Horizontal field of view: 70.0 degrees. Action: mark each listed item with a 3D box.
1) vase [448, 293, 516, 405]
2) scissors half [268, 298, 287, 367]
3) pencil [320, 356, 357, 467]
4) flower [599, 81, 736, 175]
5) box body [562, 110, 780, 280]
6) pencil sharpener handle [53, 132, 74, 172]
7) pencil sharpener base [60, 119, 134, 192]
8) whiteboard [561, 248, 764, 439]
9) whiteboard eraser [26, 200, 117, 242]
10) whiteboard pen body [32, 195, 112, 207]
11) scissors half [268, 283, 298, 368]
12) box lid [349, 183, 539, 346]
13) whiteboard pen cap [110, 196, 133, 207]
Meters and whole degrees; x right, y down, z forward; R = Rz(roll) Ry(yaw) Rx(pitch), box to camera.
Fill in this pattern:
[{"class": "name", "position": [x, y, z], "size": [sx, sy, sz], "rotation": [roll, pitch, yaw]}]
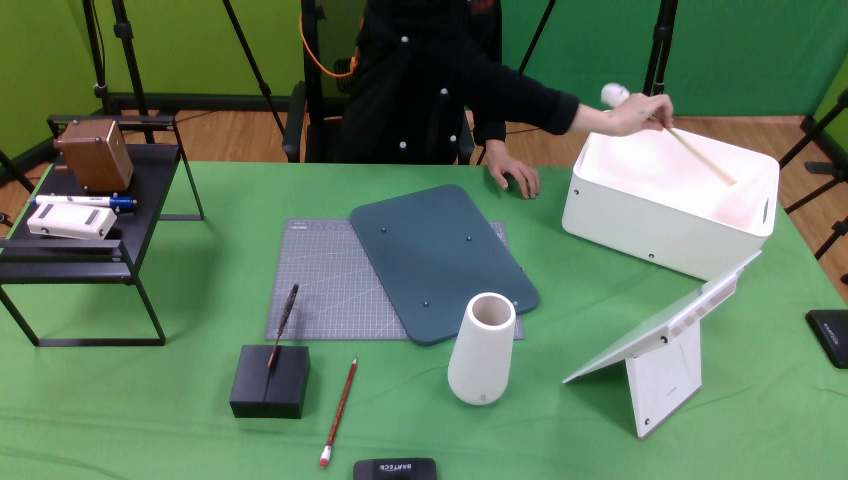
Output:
[{"class": "vase", "position": [0.091, 0.169, 0.921], "size": [0.098, 0.201, 0.097], "rotation": [3, 47, -3]}, {"class": "scissors half", "position": [-0.239, 0.150, 0.997], "size": [0.013, 0.040, 0.174], "rotation": [24, 24, -14]}, {"class": "pencil", "position": [-0.130, 0.261, 0.946], "size": [0.012, 0.012, 0.193], "rotation": [10, 45, 5]}, {"class": "flower", "position": [0.418, -0.202, 1.062], "size": [0.044, 0.038, 0.359], "rotation": [15, 27, -31]}, {"class": "box body", "position": [0.486, -0.088, 1.222], "size": [0.363, 0.161, 0.253], "rotation": [20, 48, 15]}, {"class": "pencil sharpener handle", "position": [-0.578, -0.138, 0.961], "size": [0.031, 0.068, 0.036], "rotation": [-4, 34, -7]}, {"class": "pencil sharpener base", "position": [-0.528, -0.135, 0.979], "size": [0.077, 0.107, 0.061], "rotation": [-4, 47, -7]}, {"class": "whiteboard", "position": [0.386, 0.176, 0.905], "size": [0.217, 0.306, 0.143], "rotation": [-26, 72, -27]}, {"class": "whiteboard eraser", "position": [-0.532, -0.026, 0.919], "size": [0.113, 0.042, 0.055], "rotation": [7, 45, 3]}, {"class": "whiteboard pen body", "position": [-0.543, -0.061, 0.961], "size": [0.141, 0.017, 0.017], "rotation": [1, 46, -10]}, {"class": "scissors half", "position": [-0.230, 0.135, 0.986], "size": [0.013, 0.040, 0.174], "rotation": [20, 43, -12]}, {"class": "box lid", "position": [0.030, 0.031, 1.176], "size": [0.263, 0.015, 0.369], "rotation": [-16, 49, -18]}, {"class": "whiteboard pen cap", "position": [-0.485, -0.061, 0.972], "size": [0.033, 0.018, 0.018], "rotation": [0, 47, -8]}]
